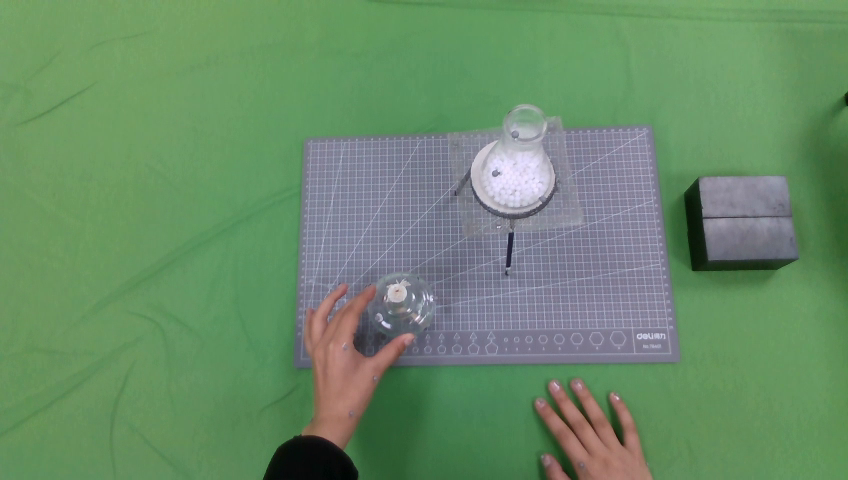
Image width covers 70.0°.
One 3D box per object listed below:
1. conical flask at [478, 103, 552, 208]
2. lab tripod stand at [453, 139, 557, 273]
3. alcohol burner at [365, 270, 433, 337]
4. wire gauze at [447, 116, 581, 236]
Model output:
[{"bbox_3d":[0.089,-0.083,0.569,0.075,0.122,0.075,-1,73,3],"label":"conical flask"},{"bbox_3d":[0.098,-0.050,0.689,0.148,0.132,0.147,-1,72,3],"label":"lab tripod stand"},{"bbox_3d":[-0.029,0.068,0.674,0.078,0.120,0.077,0,74,2],"label":"alcohol burner"},{"bbox_3d":[0.092,-0.066,0.626,0.125,0.011,0.121,-6,76,-2],"label":"wire gauze"}]
